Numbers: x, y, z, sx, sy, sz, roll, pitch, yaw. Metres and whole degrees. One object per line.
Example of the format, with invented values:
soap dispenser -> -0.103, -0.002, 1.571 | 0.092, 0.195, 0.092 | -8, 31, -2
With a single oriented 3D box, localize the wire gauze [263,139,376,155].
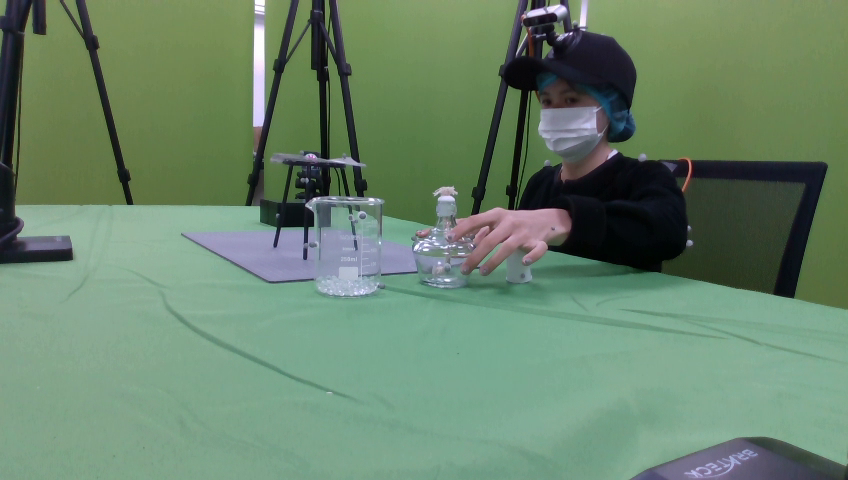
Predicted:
wire gauze -> -0.151, -0.130, 0.869 | 0.122, 0.011, 0.124 | -8, 5, -35

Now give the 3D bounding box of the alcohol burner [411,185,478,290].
alcohol burner -> 0.024, -0.004, 0.697 | 0.078, 0.119, 0.078 | 1, 7, 0

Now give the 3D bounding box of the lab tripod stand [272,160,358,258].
lab tripod stand -> -0.159, -0.048, 0.876 | 0.148, 0.131, 0.148 | 3, 5, 0

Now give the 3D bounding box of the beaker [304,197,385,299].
beaker -> -0.083, 0.007, 0.628 | 0.084, 0.100, 0.073 | -1, 7, -21

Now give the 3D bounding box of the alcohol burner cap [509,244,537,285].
alcohol burner cap -> 0.118, 0.028, 0.733 | 0.034, 0.048, 0.034 | -8, 24, 4
